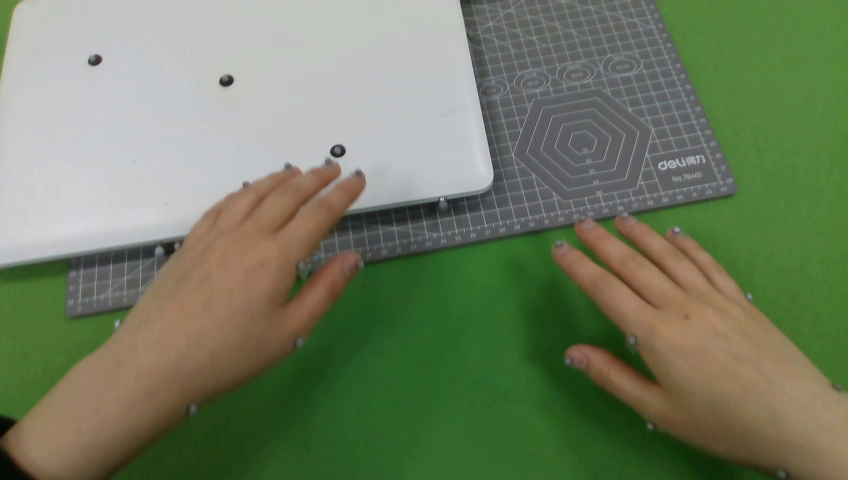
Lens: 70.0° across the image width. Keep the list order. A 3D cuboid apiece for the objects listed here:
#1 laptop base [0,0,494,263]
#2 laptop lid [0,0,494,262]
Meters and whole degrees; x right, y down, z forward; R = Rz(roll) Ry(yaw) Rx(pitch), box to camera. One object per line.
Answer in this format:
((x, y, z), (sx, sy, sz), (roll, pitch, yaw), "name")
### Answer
((-0.141, -0.112, 0.452), (0.354, 0.023, 0.233), (-9, 69, 0), "laptop base")
((-0.141, -0.116, 0.441), (0.357, 0.013, 0.239), (-7, 68, 1), "laptop lid")
